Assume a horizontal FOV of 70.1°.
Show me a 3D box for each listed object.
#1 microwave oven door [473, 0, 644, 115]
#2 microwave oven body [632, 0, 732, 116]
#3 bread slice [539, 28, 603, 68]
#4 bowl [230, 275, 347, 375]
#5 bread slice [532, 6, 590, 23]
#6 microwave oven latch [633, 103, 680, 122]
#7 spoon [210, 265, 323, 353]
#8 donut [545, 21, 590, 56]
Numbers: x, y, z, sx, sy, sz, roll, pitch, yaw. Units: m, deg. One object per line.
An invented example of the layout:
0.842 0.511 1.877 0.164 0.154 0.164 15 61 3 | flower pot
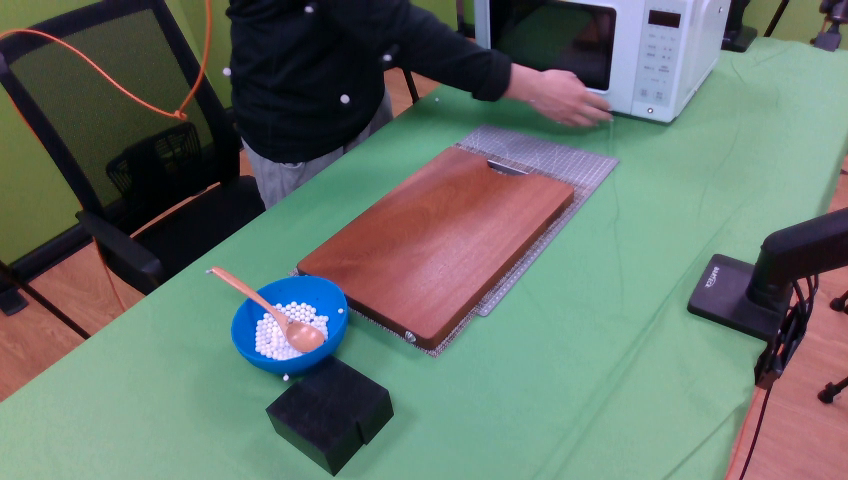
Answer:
0.257 -0.396 1.199 0.353 0.245 0.039 21 48 29 | microwave oven door
0.377 -0.463 1.267 0.438 0.261 0.327 21 49 30 | microwave oven body
0.331 -0.428 1.340 0.104 0.019 0.131 21 59 41 | bread slice
-0.171 0.125 0.802 0.151 0.077 0.150 -4 40 4 | bowl
0.294 -0.478 1.278 0.106 0.018 0.134 6 29 20 | bread slice
0.443 -0.249 1.158 0.078 0.029 0.030 21 49 30 | microwave oven latch
-0.213 0.087 0.806 0.193 0.021 0.042 37 55 11 | spoon
0.308 -0.433 1.298 0.099 0.048 0.098 -22 34 17 | donut
